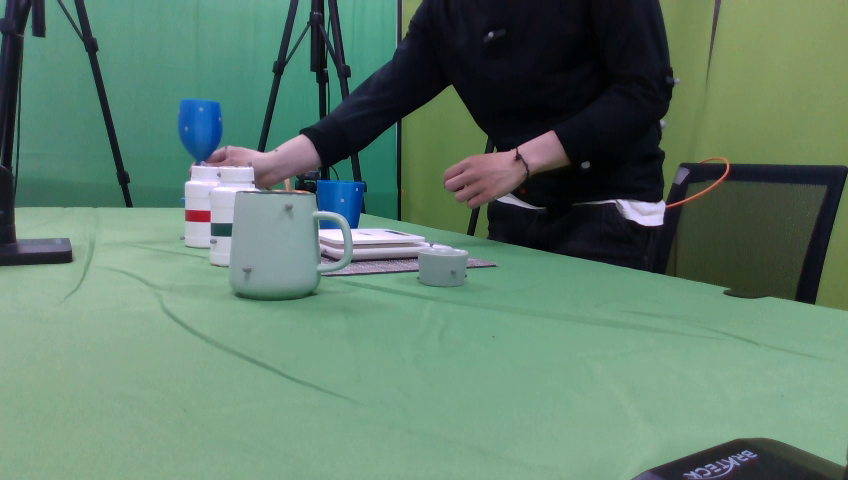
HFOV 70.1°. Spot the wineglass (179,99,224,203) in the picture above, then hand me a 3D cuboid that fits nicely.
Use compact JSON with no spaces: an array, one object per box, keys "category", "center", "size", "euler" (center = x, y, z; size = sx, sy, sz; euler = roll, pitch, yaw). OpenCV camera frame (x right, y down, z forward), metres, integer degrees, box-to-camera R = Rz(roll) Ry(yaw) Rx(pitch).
[{"category":"wineglass","center":[-0.381,-0.151,1.038],"size":[0.074,0.172,0.073],"euler":[2,7,0]}]

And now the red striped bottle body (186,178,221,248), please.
[{"category":"red striped bottle body","center":[-0.331,-0.050,0.927],"size":[0.063,0.119,0.063],"euler":[2,6,0]}]

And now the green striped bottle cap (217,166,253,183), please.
[{"category":"green striped bottle cap","center":[-0.242,-0.084,0.777],"size":[0.044,0.020,0.044],"euler":[2,8,0]}]

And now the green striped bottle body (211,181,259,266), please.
[{"category":"green striped bottle body","center":[-0.243,-0.029,0.784],"size":[0.063,0.119,0.063],"euler":[2,7,0]}]

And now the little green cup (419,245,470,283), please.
[{"category":"little green cup","center":[0.023,0.028,0.712],"size":[0.061,0.038,0.061],"euler":[2,6,0]}]

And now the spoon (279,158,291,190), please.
[{"category":"spoon","center":[-0.280,-0.103,1.251],"size":[0.042,0.193,0.021],"euler":[8,-41,-31]}]

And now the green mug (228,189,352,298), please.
[{"category":"green mug","center":[-0.135,0.002,0.618],"size":[0.125,0.105,0.092],"euler":[2,7,4]}]

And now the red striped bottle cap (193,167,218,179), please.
[{"category":"red striped bottle cap","center":[-0.329,-0.103,0.921],"size":[0.044,0.017,0.044],"euler":[-1,9,1]}]

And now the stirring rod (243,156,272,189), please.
[{"category":"stirring rod","center":[-0.304,-0.099,1.201],"size":[0.006,0.177,0.014],"euler":[-27,37,7]}]

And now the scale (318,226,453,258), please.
[{"category":"scale","center":[-0.066,0.001,0.906],"size":[0.202,0.031,0.148],"euler":[-2,8,-31]}]

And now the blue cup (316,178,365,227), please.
[{"category":"blue cup","center":[-0.149,-0.057,1.072],"size":[0.093,0.100,0.092],"euler":[3,8,0]}]
